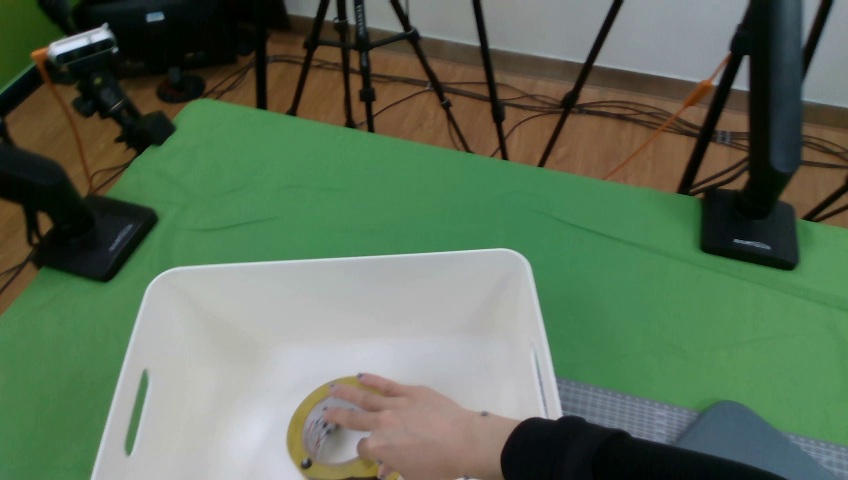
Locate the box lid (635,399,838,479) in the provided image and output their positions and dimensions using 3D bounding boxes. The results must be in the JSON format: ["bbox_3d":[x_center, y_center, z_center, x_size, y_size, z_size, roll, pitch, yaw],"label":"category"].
[{"bbox_3d":[0.345,0.336,0.523,0.263,0.015,0.368,-34,58,-24],"label":"box lid"}]

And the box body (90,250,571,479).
[{"bbox_3d":[-0.074,0.165,0.568,0.364,0.162,0.251,-4,50,-2],"label":"box body"}]

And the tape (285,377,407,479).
[{"bbox_3d":[-0.076,0.194,0.591,0.117,0.053,0.115,-7,40,6],"label":"tape"}]
